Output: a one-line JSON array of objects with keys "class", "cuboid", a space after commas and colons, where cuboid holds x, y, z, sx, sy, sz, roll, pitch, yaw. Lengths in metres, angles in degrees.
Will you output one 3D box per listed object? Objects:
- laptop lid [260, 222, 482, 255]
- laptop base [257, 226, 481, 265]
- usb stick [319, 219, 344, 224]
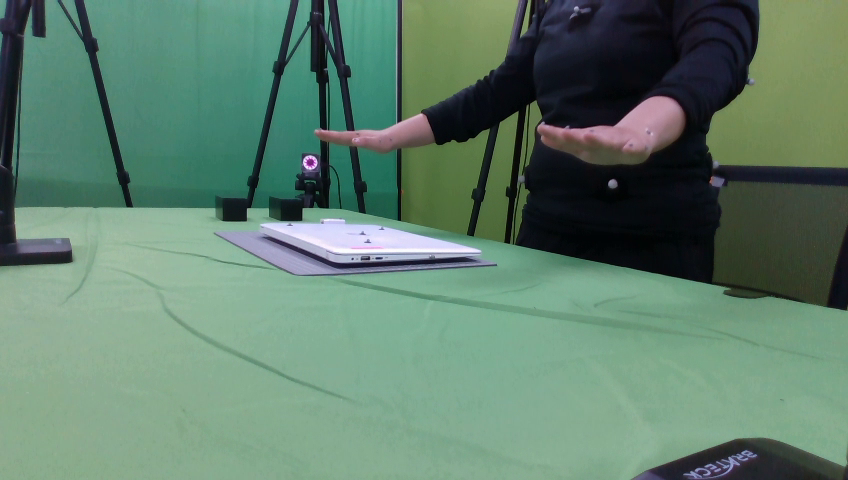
[{"class": "laptop lid", "cuboid": [-0.100, -0.005, 0.962, 0.243, 0.013, 0.355, 1, 7, -30]}, {"class": "laptop base", "cuboid": [-0.102, 0.007, 0.962, 0.237, 0.023, 0.352, 2, 6, -32]}, {"class": "usb stick", "cuboid": [-0.183, -0.027, 1.153, 0.059, 0.027, 0.021, -6, 14, -30]}]
